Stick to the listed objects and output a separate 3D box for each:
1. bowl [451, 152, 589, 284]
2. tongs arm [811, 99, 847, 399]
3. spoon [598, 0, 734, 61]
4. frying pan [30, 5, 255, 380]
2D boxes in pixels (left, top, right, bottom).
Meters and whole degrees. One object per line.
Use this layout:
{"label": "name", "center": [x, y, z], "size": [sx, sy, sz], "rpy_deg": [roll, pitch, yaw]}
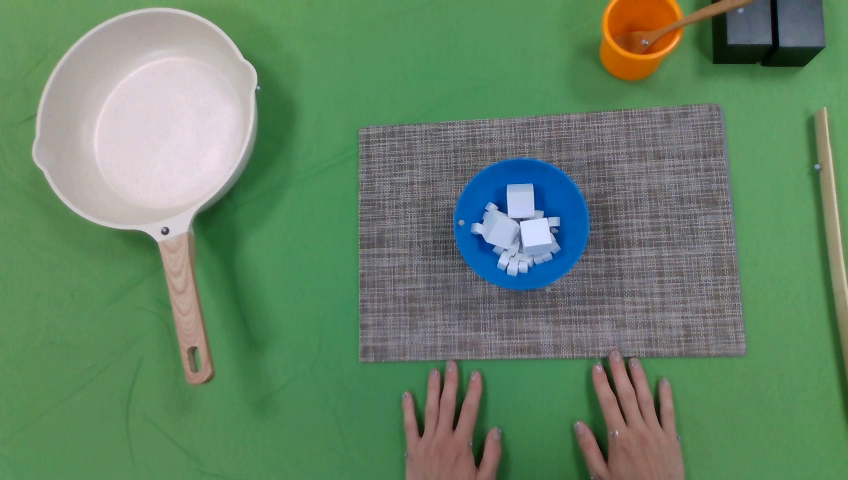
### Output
{"label": "bowl", "center": [0.109, -0.019, 0.704], "size": [0.151, 0.077, 0.151], "rpy_deg": [-1, 81, 7]}
{"label": "tongs arm", "center": [0.474, 0.026, 0.685], "size": [0.028, 0.028, 0.386], "rpy_deg": [-3, 81, 5]}
{"label": "spoon", "center": [0.284, -0.249, 0.688], "size": [0.022, 0.193, 0.041], "rpy_deg": [2, 82, -37]}
{"label": "frying pan", "center": [-0.322, -0.061, 0.753], "size": [0.307, 0.103, 0.484], "rpy_deg": [-19, 71, 5]}
